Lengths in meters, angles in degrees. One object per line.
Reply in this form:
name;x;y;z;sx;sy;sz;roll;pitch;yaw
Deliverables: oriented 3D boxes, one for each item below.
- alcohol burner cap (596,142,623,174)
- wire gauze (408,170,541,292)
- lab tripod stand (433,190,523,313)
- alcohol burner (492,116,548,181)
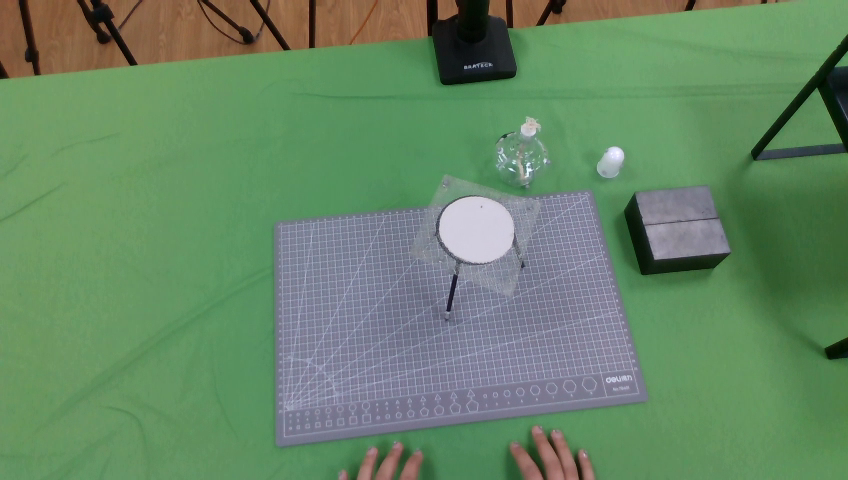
alcohol burner cap;0.266;-0.118;0.860;0.034;0.048;0.033;0;65;1
wire gauze;0.059;-0.016;0.684;0.125;0.011;0.121;20;66;8
lab tripod stand;0.060;0.007;0.748;0.148;0.132;0.147;1;64;-1
alcohol burner;0.134;-0.132;0.826;0.078;0.120;0.077;1;65;-1
